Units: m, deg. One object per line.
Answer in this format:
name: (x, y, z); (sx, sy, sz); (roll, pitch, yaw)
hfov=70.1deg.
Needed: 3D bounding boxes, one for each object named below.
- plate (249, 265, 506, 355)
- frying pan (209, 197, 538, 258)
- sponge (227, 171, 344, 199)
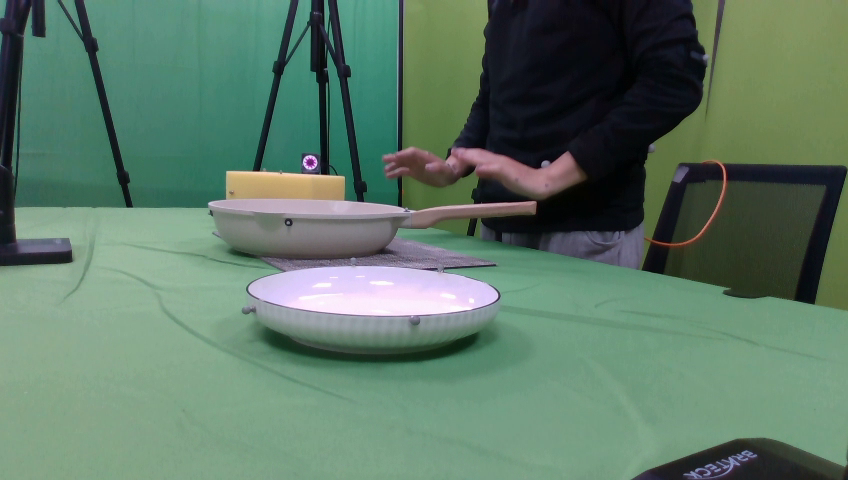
plate: (-0.037, 0.056, 0.504); (0.208, 0.039, 0.207); (2, 7, 0)
frying pan: (-0.076, -0.034, 0.912); (0.487, 0.102, 0.307); (-5, 7, 12)
sponge: (-0.283, -0.108, 1.241); (0.206, 0.061, 0.118); (4, 8, 23)
